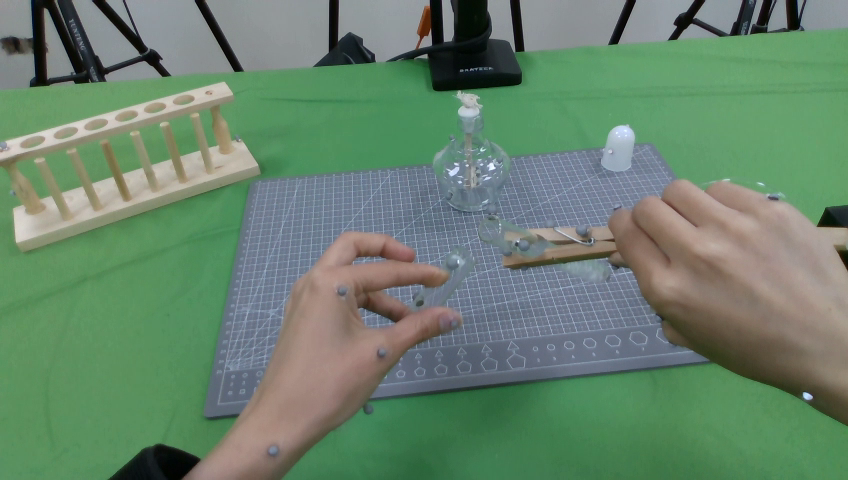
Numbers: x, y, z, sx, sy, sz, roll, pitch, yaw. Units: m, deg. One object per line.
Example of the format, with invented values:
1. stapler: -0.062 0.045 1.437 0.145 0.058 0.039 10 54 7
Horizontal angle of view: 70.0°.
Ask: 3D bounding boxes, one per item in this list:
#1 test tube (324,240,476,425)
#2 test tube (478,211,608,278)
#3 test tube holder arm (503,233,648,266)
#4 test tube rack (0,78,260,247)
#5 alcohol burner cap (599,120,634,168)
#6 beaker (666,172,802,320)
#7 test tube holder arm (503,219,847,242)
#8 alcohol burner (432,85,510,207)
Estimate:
1. test tube: -0.018 0.059 0.364 0.017 0.151 0.017 32 21 -13
2. test tube: 0.082 0.006 0.384 0.151 0.017 0.017 18 19 -49
3. test tube holder arm: 0.085 0.004 0.352 0.087 0.015 0.010 -12 74 40
4. test tube rack: -0.305 -0.085 0.626 0.243 0.086 0.066 -22 45 -20
5. alcohol burner cap: 0.206 -0.105 0.645 0.034 0.048 0.033 -2 42 2
6. beaker: 0.234 0.007 0.477 0.074 0.101 0.083 -26 46 -23
7. test tube holder arm: 0.119 -0.004 0.323 0.177 0.013 0.015 -2 -9 41
8. alcohol burner: 0.045 -0.093 0.588 0.078 0.120 0.077 -3 41 3
